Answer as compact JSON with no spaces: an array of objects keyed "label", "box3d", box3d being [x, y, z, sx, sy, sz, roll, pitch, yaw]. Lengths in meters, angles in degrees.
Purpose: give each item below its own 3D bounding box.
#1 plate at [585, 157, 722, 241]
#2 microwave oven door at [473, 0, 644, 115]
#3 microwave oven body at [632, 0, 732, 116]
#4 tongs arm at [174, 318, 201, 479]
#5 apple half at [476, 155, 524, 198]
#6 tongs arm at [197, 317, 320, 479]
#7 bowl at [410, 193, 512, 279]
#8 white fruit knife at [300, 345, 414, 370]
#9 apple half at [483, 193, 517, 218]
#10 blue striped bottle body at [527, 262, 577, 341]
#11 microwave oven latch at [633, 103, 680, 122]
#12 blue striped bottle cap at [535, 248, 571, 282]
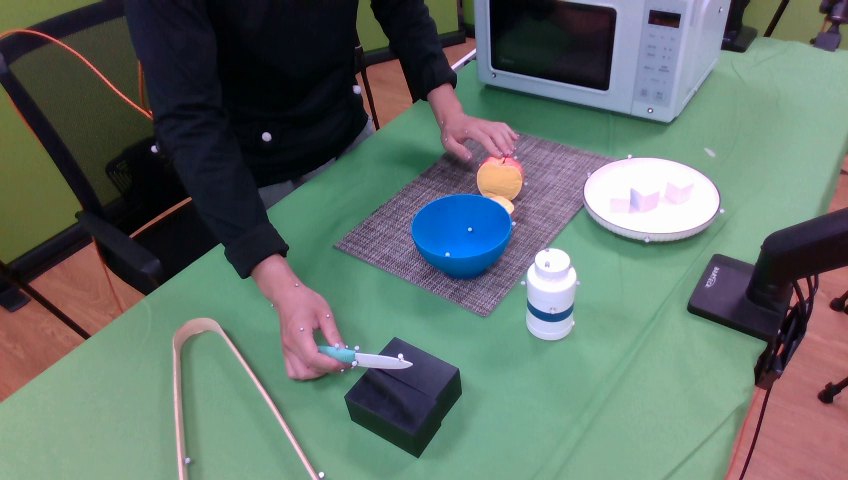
[{"label":"plate","box3d":[0.367,-0.063,0.979,0.207,0.039,0.206,-4,40,4]},{"label":"microwave oven door","box3d":[0.257,-0.396,1.199,0.353,0.245,0.039,21,48,29]},{"label":"microwave oven body","box3d":[0.377,-0.462,1.267,0.438,0.261,0.327,21,48,30]},{"label":"tongs arm","box3d":[-0.272,0.234,0.723,0.051,0.026,0.381,-19,40,-14]},{"label":"apple half","box3d":[0.132,-0.109,1.031,0.080,0.075,0.053,8,32,11]},{"label":"tongs arm","box3d":[-0.199,0.206,0.750,0.028,0.028,0.384,-31,45,-22]},{"label":"bowl","box3d":[0.058,0.005,0.904,0.151,0.077,0.150,-4,40,4]},{"label":"white fruit knife","box3d":[-0.087,0.145,0.744,0.206,0.027,0.016,-4,31,41]},{"label":"apple half","box3d":[0.116,-0.045,0.983,0.081,0.033,0.081,-11,34,8]},{"label":"blue striped bottle body","box3d":[0.165,0.070,0.786,0.063,0.121,0.063,-4,41,4]},{"label":"microwave oven latch","box3d":[0.444,-0.249,1.157,0.078,0.029,0.030,21,49,30]},{"label":"blue striped bottle cap","box3d":[0.161,0.031,0.753,0.044,0.021,0.044,-4,42,4]}]
